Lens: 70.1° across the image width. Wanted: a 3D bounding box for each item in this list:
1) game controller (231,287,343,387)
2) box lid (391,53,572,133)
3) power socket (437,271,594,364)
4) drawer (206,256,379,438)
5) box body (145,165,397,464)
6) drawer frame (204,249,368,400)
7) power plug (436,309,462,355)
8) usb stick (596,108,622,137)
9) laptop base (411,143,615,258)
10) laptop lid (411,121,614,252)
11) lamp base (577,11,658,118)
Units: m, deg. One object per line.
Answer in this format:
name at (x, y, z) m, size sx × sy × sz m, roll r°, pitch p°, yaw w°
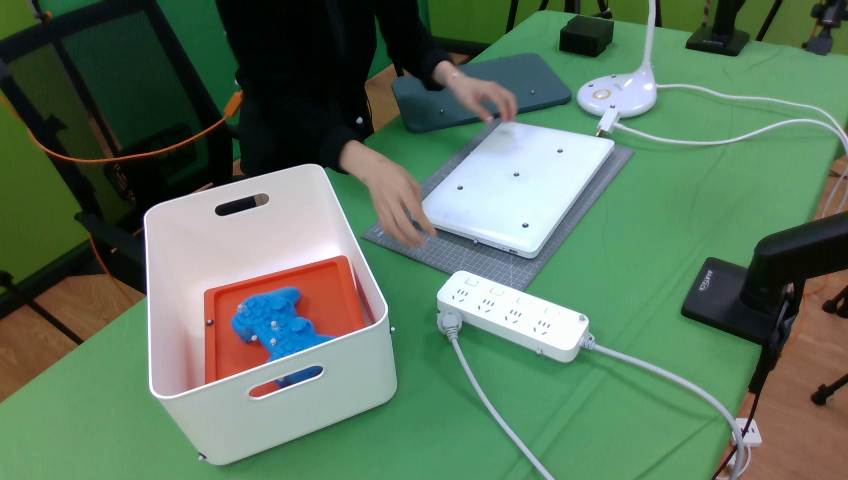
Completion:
game controller at (-0.167, 0.110, 0.734) m, size 0.097 × 0.052 × 0.154 m, roll -35°, pitch 47°, yaw -22°
box lid at (0.122, -0.339, 1.366) m, size 0.372 × 0.015 × 0.261 m, roll -12°, pitch 40°, yaw -5°
power socket at (0.118, 0.102, 0.830) m, size 0.225 × 0.033 × 0.072 m, roll 20°, pitch 48°, yaw 28°
drawer at (-0.177, 0.130, 0.787) m, size 0.195 × 0.073 × 0.210 m, roll -14°, pitch 39°, yaw -10°
box body at (-0.205, 0.080, 0.802) m, size 0.255 × 0.161 × 0.361 m, roll -18°, pitch 41°, yaw -13°
drawer frame at (-0.174, 0.129, 0.791) m, size 0.202 × 0.083 × 0.212 m, roll -16°, pitch 45°, yaw -8°
power plug at (0.032, 0.126, 0.809) m, size 0.035 × 0.053 × 0.072 m, roll 3°, pitch 59°, yaw 7°
usb stick at (0.354, -0.223, 1.168) m, size 0.027 × 0.059 × 0.022 m, roll 36°, pitch 12°, yaw 35°
laptop base at (0.167, -0.102, 1.074) m, size 0.234 × 0.023 × 0.355 m, roll 16°, pitch 45°, yaw 30°
laptop lid at (0.164, -0.112, 1.068) m, size 0.240 × 0.013 × 0.357 m, roll 19°, pitch 46°, yaw 30°
lamp base at (0.406, -0.363, 1.222) m, size 0.180 × 0.181 × 0.159 m, roll -20°, pitch 42°, yaw -18°
